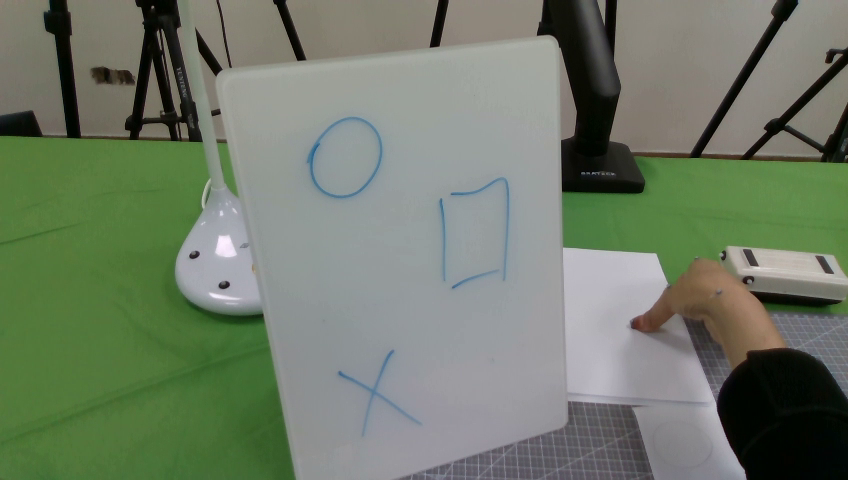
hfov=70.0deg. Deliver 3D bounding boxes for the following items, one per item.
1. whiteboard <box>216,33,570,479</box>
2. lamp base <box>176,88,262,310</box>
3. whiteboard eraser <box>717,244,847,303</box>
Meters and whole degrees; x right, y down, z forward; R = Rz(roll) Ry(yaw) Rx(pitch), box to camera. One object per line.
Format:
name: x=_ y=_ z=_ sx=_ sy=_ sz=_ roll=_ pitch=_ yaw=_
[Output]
whiteboard: x=-0.019 y=0.010 z=0.474 sx=0.218 sy=0.307 sz=0.142 roll=-11 pitch=20 yaw=-15
lamp base: x=-0.186 y=-0.049 z=0.602 sx=0.177 sy=0.182 sz=0.160 roll=29 pitch=45 yaw=35
whiteboard eraser: x=0.369 y=0.035 z=0.627 sx=0.112 sy=0.042 sz=0.055 roll=6 pitch=38 yaw=6
